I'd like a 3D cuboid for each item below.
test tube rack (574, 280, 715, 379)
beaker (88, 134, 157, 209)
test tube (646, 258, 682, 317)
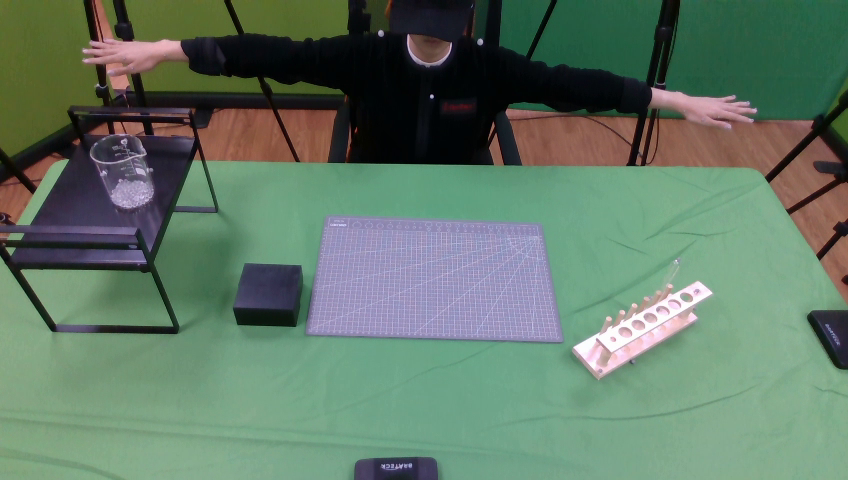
[{"bbox_3d":[0.378,0.140,1.038,0.242,0.085,0.066,-22,51,-23],"label":"test tube rack"},{"bbox_3d":[-0.470,-0.105,0.961,0.084,0.101,0.073,4,46,0],"label":"beaker"},{"bbox_3d":[0.407,0.082,1.033,0.017,0.151,0.017,2,47,-2],"label":"test tube"}]
